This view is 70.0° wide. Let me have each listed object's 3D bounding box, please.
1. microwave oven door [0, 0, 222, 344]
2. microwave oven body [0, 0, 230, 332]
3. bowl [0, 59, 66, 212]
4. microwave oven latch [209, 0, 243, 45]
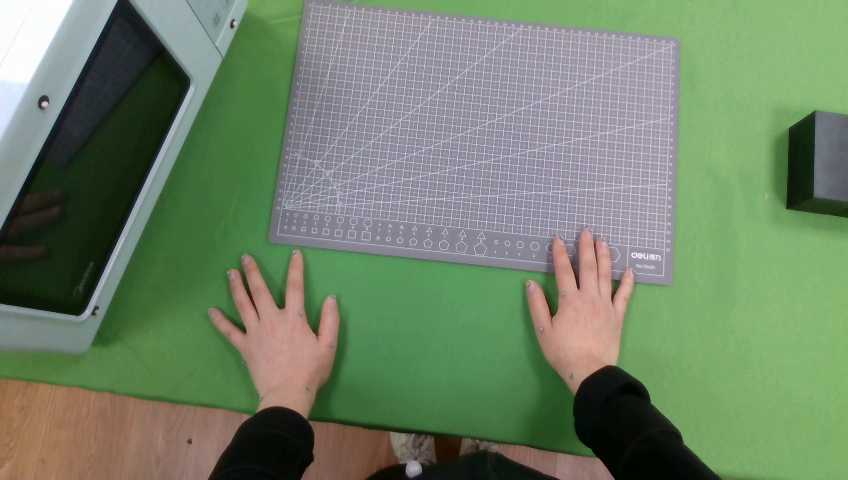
[{"bbox_3d":[-0.304,-0.081,0.546,0.039,0.244,0.354,20,80,3],"label":"microwave oven door"},{"bbox_3d":[-0.426,-0.169,0.564,0.326,0.261,0.440,20,80,2],"label":"microwave oven body"},{"bbox_3d":[-0.408,-0.088,0.582,0.151,0.077,0.150,0,77,1],"label":"bowl"},{"bbox_3d":[-0.227,-0.263,0.683,0.030,0.029,0.079,21,81,3],"label":"microwave oven latch"}]
